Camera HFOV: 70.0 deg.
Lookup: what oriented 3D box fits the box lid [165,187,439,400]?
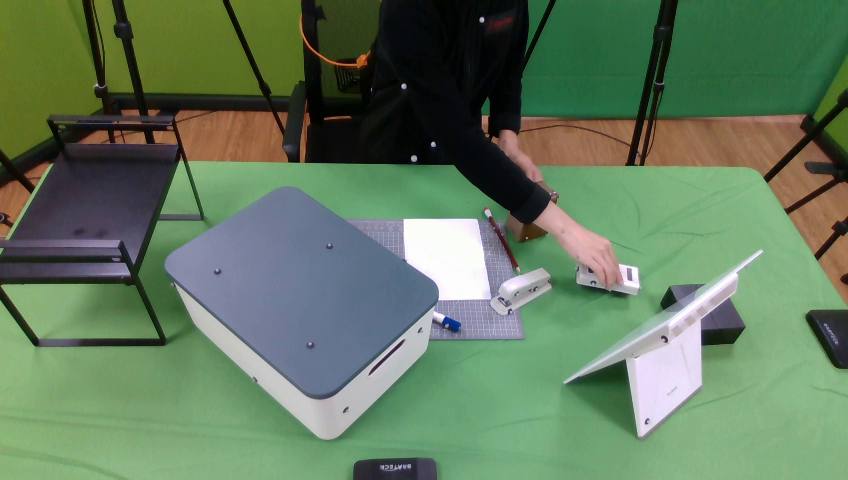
[{"bbox_3d":[-0.186,0.060,0.925,0.370,0.015,0.263,32,53,25],"label":"box lid"}]

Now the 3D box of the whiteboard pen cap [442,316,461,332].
[{"bbox_3d":[0.048,0.146,1.059,0.033,0.018,0.018,24,49,16],"label":"whiteboard pen cap"}]

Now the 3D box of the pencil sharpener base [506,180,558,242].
[{"bbox_3d":[0.216,-0.059,1.211,0.077,0.107,0.061,-16,49,-19],"label":"pencil sharpener base"}]

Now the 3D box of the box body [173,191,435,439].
[{"bbox_3d":[-0.191,0.110,0.979,0.362,0.161,0.254,33,53,24],"label":"box body"}]

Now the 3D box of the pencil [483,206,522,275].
[{"bbox_3d":[0.158,-0.001,1.218,0.012,0.012,0.192,-11,48,-14],"label":"pencil"}]

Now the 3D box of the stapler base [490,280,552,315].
[{"bbox_3d":[0.181,0.094,1.118,0.130,0.024,0.041,-24,56,-29],"label":"stapler base"}]

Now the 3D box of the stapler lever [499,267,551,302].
[{"bbox_3d":[0.185,0.076,1.101,0.118,0.040,0.026,-24,56,-29],"label":"stapler lever"}]

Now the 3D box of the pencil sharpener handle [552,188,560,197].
[{"bbox_3d":[0.261,-0.084,1.221,0.031,0.068,0.036,-16,67,-19],"label":"pencil sharpener handle"}]

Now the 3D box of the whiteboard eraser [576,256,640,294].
[{"bbox_3d":[0.342,0.067,1.131,0.113,0.042,0.055,10,45,3],"label":"whiteboard eraser"}]

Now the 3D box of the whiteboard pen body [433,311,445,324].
[{"bbox_3d":[-0.004,0.123,1.074,0.140,0.017,0.017,24,49,15],"label":"whiteboard pen body"}]

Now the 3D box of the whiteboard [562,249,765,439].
[{"bbox_3d":[0.386,0.176,0.905,0.217,0.306,0.143,-26,72,-26],"label":"whiteboard"}]
